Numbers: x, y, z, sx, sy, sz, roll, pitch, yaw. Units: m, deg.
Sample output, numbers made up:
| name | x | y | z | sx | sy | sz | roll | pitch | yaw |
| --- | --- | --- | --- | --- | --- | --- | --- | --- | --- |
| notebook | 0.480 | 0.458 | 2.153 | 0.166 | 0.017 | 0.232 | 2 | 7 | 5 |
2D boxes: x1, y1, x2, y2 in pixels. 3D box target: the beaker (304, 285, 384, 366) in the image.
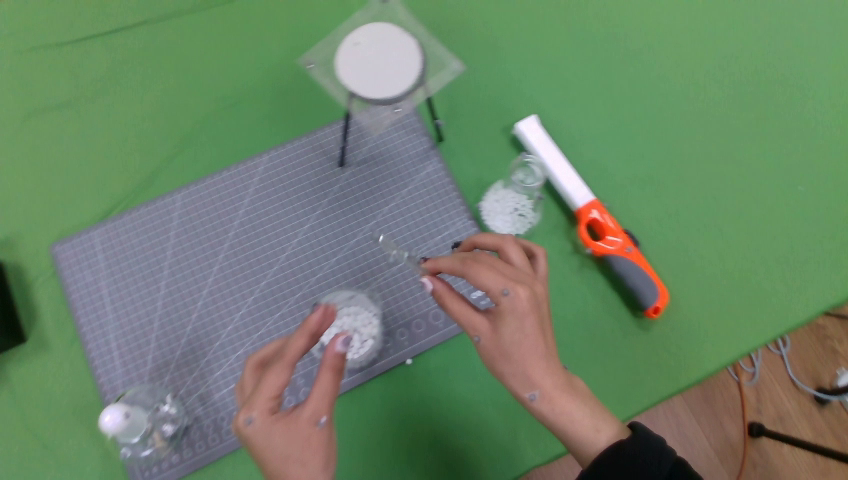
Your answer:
| name | x | y | z | sx | sy | sz | roll | pitch | yaw |
| --- | --- | --- | --- | --- | --- | --- | --- | --- | --- |
| beaker | -0.077 | 0.091 | 0.625 | 0.073 | 0.101 | 0.084 | 44 | 78 | 10 |

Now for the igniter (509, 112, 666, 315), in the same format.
| name | x | y | z | sx | sy | sz | roll | pitch | yaw |
| --- | --- | --- | --- | --- | --- | --- | --- | --- | --- |
| igniter | 0.191 | -0.034 | 0.706 | 0.057 | 0.025 | 0.275 | -30 | 78 | -20 |

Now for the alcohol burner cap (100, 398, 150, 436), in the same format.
| name | x | y | z | sx | sy | sz | roll | pitch | yaw |
| --- | --- | --- | --- | --- | --- | --- | --- | --- | --- |
| alcohol burner cap | -0.277 | 0.160 | 0.556 | 0.034 | 0.048 | 0.033 | 1 | 65 | -3 |

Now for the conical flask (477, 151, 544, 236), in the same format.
| name | x | y | z | sx | sy | sz | roll | pitch | yaw |
| --- | --- | --- | --- | --- | --- | --- | --- | --- | --- |
| conical flask | 0.101 | -0.055 | 0.660 | 0.075 | 0.122 | 0.075 | 0 | 75 | -1 |

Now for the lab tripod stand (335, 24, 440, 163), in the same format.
| name | x | y | z | sx | sy | sz | roll | pitch | yaw |
| --- | --- | --- | --- | --- | --- | --- | --- | --- | --- |
| lab tripod stand | -0.050 | -0.159 | 0.677 | 0.148 | 0.132 | 0.147 | 1 | 75 | -3 |

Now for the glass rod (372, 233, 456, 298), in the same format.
| name | x | y | z | sx | sy | sz | roll | pitch | yaw |
| --- | --- | --- | --- | --- | --- | --- | --- | --- | --- |
| glass rod | -0.002 | 0.025 | 0.473 | 0.008 | 0.201 | 0.008 | -5 | 73 | 16 |

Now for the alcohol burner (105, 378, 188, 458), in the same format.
| name | x | y | z | sx | sy | sz | roll | pitch | yaw |
| --- | --- | --- | --- | --- | --- | --- | --- | --- | --- |
| alcohol burner | -0.277 | 0.172 | 0.590 | 0.078 | 0.119 | 0.077 | 1 | 72 | -2 |

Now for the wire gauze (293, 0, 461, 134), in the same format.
| name | x | y | z | sx | sy | sz | roll | pitch | yaw |
| --- | --- | --- | --- | --- | --- | --- | --- | --- | --- |
| wire gauze | -0.048 | -0.182 | 0.614 | 0.125 | 0.011 | 0.121 | -42 | 81 | -11 |
